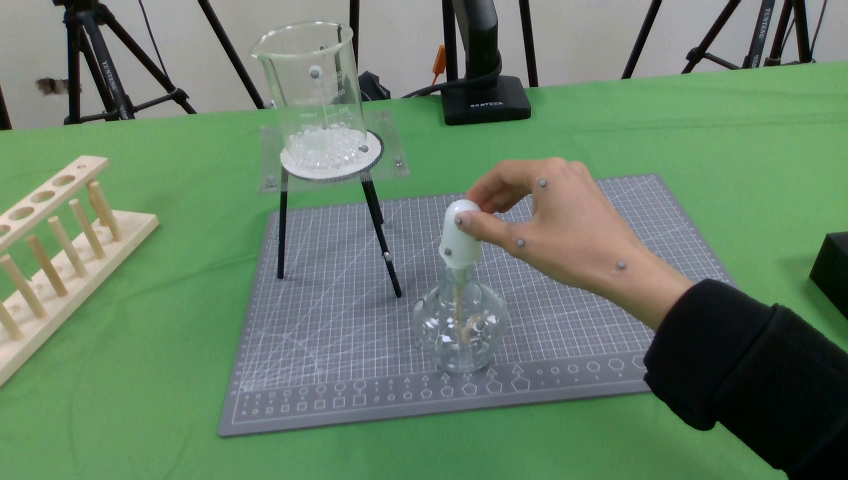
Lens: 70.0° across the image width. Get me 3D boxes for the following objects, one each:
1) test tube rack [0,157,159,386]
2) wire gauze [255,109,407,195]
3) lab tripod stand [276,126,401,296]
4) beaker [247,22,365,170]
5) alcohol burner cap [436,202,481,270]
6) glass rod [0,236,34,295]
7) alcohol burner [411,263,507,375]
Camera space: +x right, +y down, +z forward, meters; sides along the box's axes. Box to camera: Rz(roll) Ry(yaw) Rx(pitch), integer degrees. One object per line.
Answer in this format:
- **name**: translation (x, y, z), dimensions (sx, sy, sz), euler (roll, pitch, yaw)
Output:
- **test tube rack**: translation (-0.366, 0.020, 0.581), dimensions (0.066, 0.086, 0.240), euler (7, 39, 14)
- **wire gauze**: translation (-0.084, -0.077, 0.526), dimensions (0.125, 0.011, 0.120), euler (-11, 37, -3)
- **lab tripod stand**: translation (-0.079, -0.026, 0.567), dimensions (0.148, 0.133, 0.147), euler (-3, 40, 3)
- **beaker**: translation (-0.091, -0.115, 0.495), dimensions (0.084, 0.101, 0.073), euler (-10, 38, -5)
- **alcohol burner cap**: translation (0.026, -0.005, 0.436), dimensions (0.034, 0.048, 0.033), euler (1, 42, -1)
- **glass rod**: translation (-0.399, -0.030, 0.541), dimensions (0.008, 0.201, 0.008), euler (-7, 32, 5)
- **alcohol burner**: translation (0.027, 0.048, 0.477), dimensions (0.078, 0.120, 0.077), euler (-3, 37, 3)
